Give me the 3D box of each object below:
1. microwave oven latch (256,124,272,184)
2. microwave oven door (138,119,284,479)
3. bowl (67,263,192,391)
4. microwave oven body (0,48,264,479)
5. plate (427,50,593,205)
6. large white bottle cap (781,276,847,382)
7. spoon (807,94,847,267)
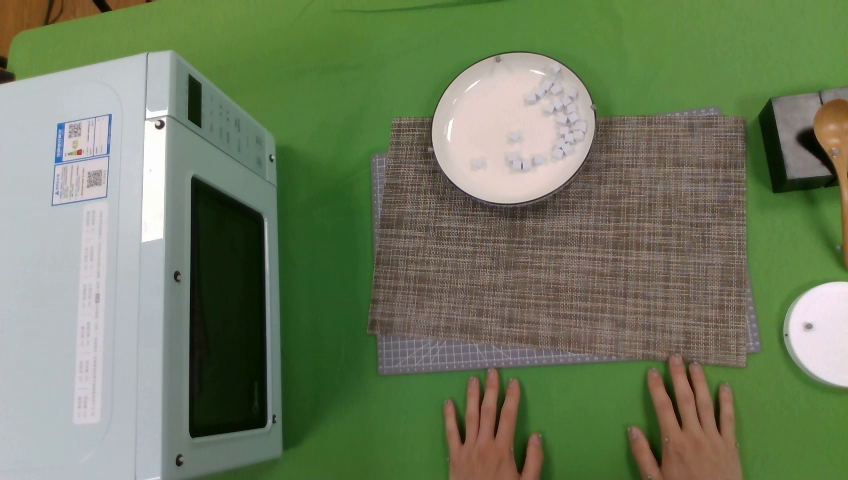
[{"bbox_3d":[-0.227,-0.116,0.832,0.030,0.030,0.079,-7,77,11],"label":"microwave oven latch"},{"bbox_3d":[-0.233,0.074,0.686,0.039,0.245,0.354,-8,76,11],"label":"microwave oven door"},{"bbox_3d":[-0.342,0.108,0.741,0.151,0.077,0.150,-3,77,11],"label":"bowl"},{"bbox_3d":[-0.378,0.054,0.729,0.325,0.262,0.439,-8,77,11],"label":"microwave oven body"},{"bbox_3d":[0.109,-0.141,0.777,0.209,0.038,0.208,-3,76,12],"label":"plate"},{"bbox_3d":[0.455,0.097,0.662,0.114,0.018,0.114,-2,78,11],"label":"large white bottle cap"},{"bbox_3d":[0.450,-0.061,0.659,0.041,0.021,0.194,-12,98,8],"label":"spoon"}]
